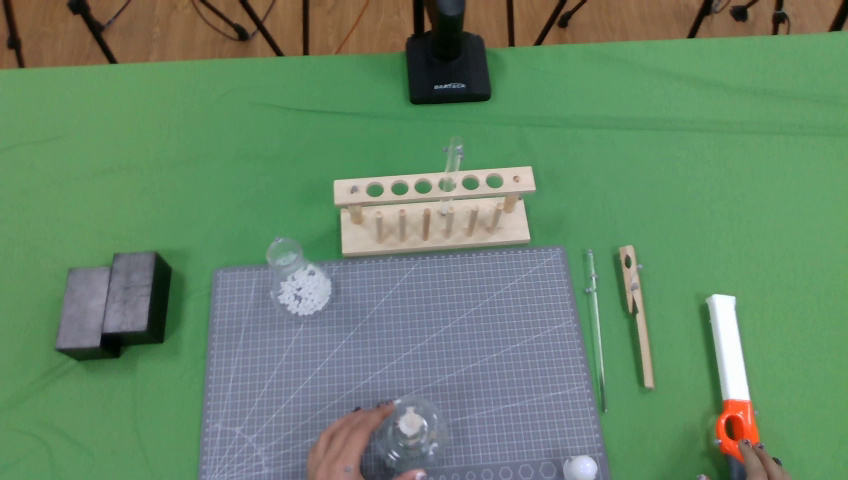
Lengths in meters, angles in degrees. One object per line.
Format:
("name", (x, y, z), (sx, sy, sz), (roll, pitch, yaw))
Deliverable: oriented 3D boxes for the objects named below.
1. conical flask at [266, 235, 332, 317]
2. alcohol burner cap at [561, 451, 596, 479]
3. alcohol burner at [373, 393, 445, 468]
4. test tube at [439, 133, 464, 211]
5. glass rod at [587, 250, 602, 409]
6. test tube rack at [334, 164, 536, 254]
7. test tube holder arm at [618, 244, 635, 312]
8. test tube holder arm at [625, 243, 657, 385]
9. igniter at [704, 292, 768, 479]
("conical flask", (-0.150, 0.037, 0.700), (0.075, 0.123, 0.074), (0, 65, -1))
("alcohol burner cap", (0.169, 0.243, 0.655), (0.034, 0.048, 0.033), (0, 64, 0))
("alcohol burner", (-0.017, 0.196, 0.634), (0.078, 0.120, 0.077), (0, 64, 1))
("test tube", (0.031, -0.077, 0.725), (0.017, 0.151, 0.017), (2, 62, -3))
("glass rod", (0.209, 0.105, 0.741), (0.008, 0.008, 0.198), (3, 68, 0))
("test tube rack", (0.014, -0.037, 0.761), (0.242, 0.086, 0.066), (-4, 65, -3))
("test tube holder arm", (0.258, 0.048, 0.765), (0.010, 0.015, 0.087), (-17, 62, 31))
("test tube holder arm", (0.265, 0.087, 0.744), (0.013, 0.015, 0.177), (-18, 62, 30))
("igniter", (0.356, 0.192, 0.694), (0.057, 0.025, 0.274), (8, 65, -9))
